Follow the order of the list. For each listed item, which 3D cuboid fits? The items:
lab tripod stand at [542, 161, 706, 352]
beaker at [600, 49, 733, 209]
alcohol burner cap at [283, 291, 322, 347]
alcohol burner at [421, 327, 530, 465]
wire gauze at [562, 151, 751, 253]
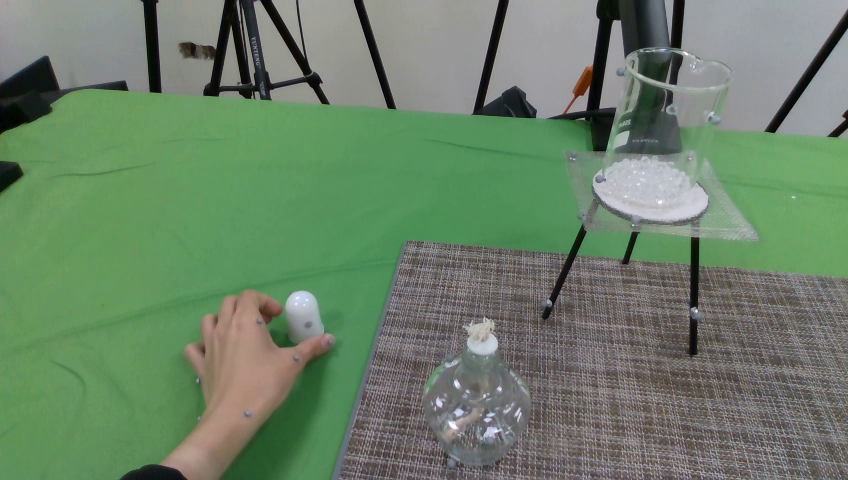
[{"bbox_3d":[0.182,0.012,0.520,0.148,0.132,0.147,1,38,-1],"label":"lab tripod stand"},{"bbox_3d":[0.177,-0.082,0.454,0.073,0.101,0.084,30,46,31],"label":"beaker"},{"bbox_3d":[-0.108,0.066,0.532,0.034,0.048,0.033,0,37,1],"label":"alcohol burner cap"},{"bbox_3d":[0.037,0.102,0.421,0.078,0.120,0.077,1,40,0],"label":"alcohol burner"},{"bbox_3d":[0.177,-0.038,0.477,0.125,0.011,0.120,5,40,0],"label":"wire gauze"}]
